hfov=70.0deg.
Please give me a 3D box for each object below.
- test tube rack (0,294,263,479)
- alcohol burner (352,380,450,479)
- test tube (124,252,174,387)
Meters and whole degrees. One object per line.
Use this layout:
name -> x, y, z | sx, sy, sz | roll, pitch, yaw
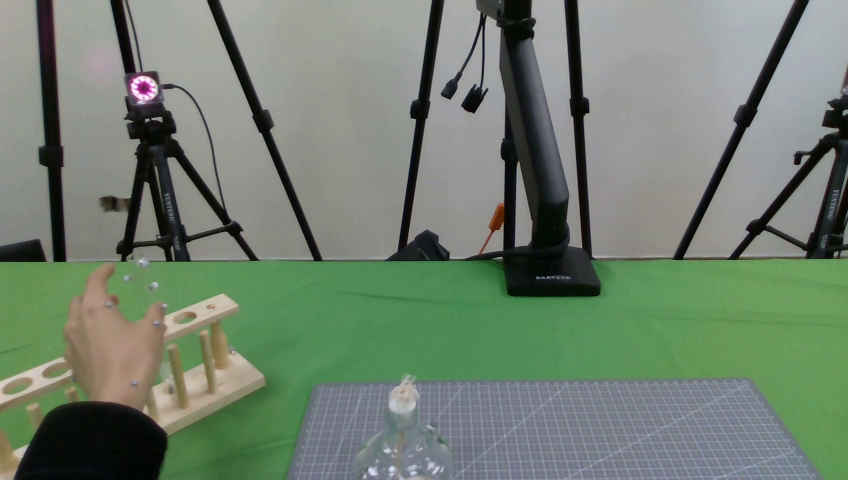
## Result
test tube rack -> -0.278, 0.141, 0.560 | 0.243, 0.086, 0.066 | -23, 34, -38
alcohol burner -> -0.018, 0.160, 0.471 | 0.078, 0.120, 0.077 | -1, 24, 1
test tube -> -0.257, 0.079, 0.573 | 0.017, 0.151, 0.017 | -1, 29, 1
